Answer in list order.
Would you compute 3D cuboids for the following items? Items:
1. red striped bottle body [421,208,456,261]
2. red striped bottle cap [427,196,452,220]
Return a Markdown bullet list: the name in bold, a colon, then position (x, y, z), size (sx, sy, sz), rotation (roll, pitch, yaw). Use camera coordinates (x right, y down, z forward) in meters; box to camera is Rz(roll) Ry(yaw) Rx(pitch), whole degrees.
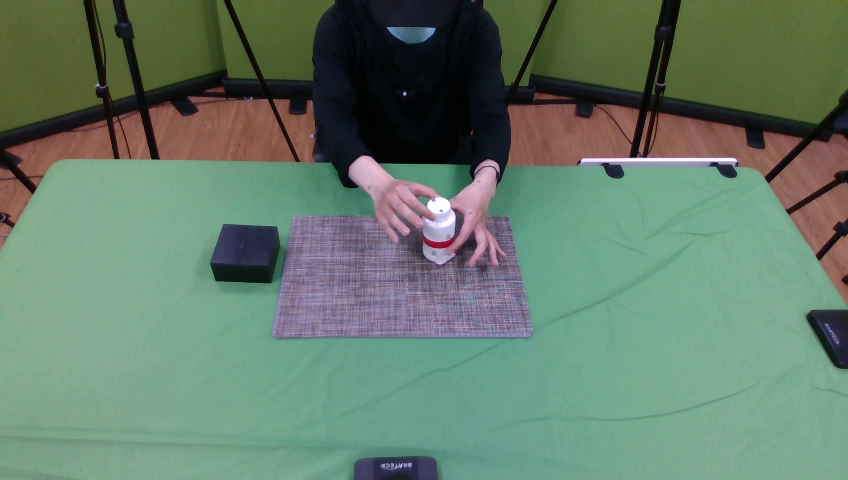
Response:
- **red striped bottle body**: position (0.027, -0.021, 1.139), size (0.063, 0.120, 0.062), rotation (1, 48, -1)
- **red striped bottle cap**: position (0.028, -0.059, 1.100), size (0.044, 0.018, 0.044), rotation (-4, 51, 5)
